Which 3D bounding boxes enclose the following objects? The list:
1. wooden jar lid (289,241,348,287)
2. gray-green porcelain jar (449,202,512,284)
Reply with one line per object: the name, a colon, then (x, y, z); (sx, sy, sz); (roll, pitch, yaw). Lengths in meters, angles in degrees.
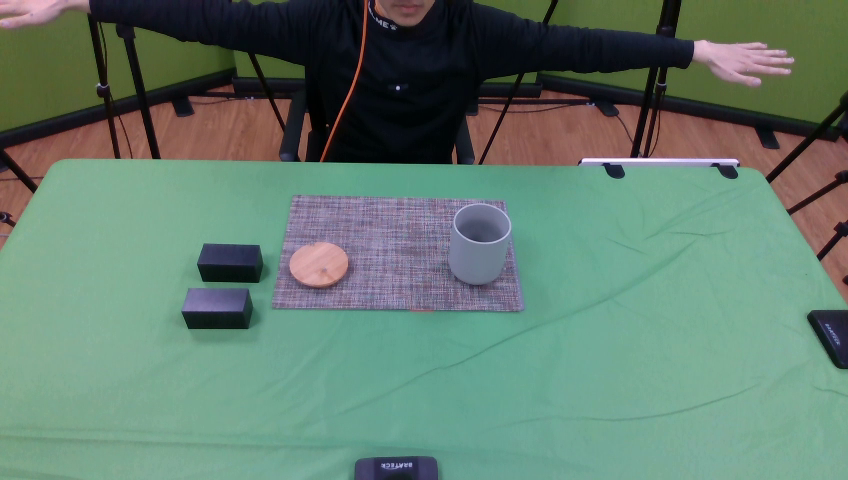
wooden jar lid: (-0.196, 0.047, 1.133); (0.108, 0.021, 0.107); (3, 45, -2)
gray-green porcelain jar: (0.100, 0.010, 1.116); (0.106, 0.127, 0.105); (2, 47, -2)
